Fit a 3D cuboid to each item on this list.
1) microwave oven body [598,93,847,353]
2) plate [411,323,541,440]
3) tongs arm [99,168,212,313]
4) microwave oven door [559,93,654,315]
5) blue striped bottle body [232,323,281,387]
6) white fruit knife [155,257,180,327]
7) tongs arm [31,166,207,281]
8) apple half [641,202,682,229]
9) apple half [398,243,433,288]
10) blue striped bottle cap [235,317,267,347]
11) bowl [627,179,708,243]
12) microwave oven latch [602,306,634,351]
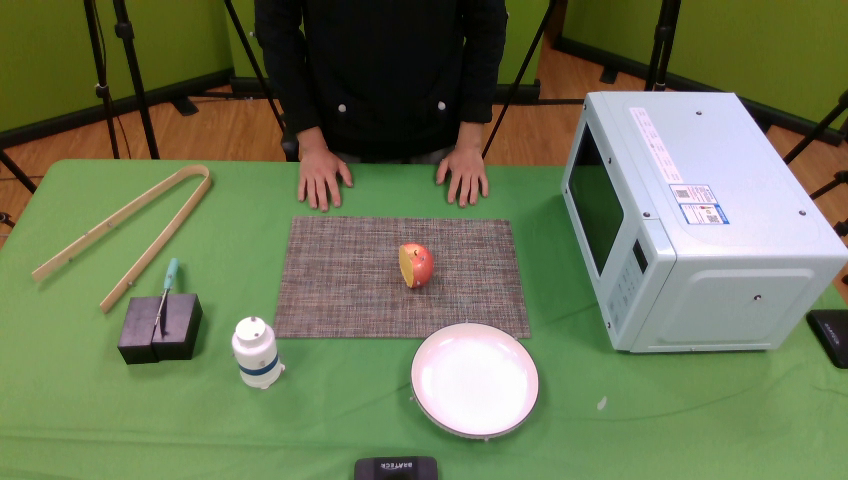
[{"bbox_3d":[0.475,-0.041,1.109,0.326,0.261,0.438,-1,45,-4],"label":"microwave oven body"},{"bbox_3d":[0.082,0.228,0.976,0.208,0.039,0.206,2,45,-2],"label":"plate"},{"bbox_3d":[-0.503,-0.012,1.167,0.028,0.028,0.385,11,46,11],"label":"tongs arm"},{"bbox_3d":[0.327,-0.074,1.123,0.039,0.245,0.353,-1,46,-5],"label":"microwave oven door"},{"bbox_3d":[-0.262,0.172,0.944,0.063,0.121,0.062,2,46,-2],"label":"blue striped bottle body"},{"bbox_3d":[-0.440,0.085,1.037,0.016,0.027,0.206,10,26,-19],"label":"white fruit knife"},{"bbox_3d":[-0.578,-0.040,1.184,0.050,0.026,0.384,23,48,17],"label":"tongs arm"},{"bbox_3d":[0.456,-0.054,1.160,0.081,0.033,0.081,-3,33,2],"label":"apple half"},{"bbox_3d":[-0.012,0.046,1.115,0.053,0.075,0.080,-11,44,-20],"label":"apple half"},{"bbox_3d":[-0.259,0.137,0.907,0.044,0.021,0.044,3,43,-2],"label":"blue striped bottle cap"},{"bbox_3d":[0.456,-0.047,1.168,0.151,0.077,0.150,7,36,-5],"label":"bowl"},{"bbox_3d":[0.332,0.153,1.044,0.030,0.029,0.078,-1,45,-4],"label":"microwave oven latch"}]
